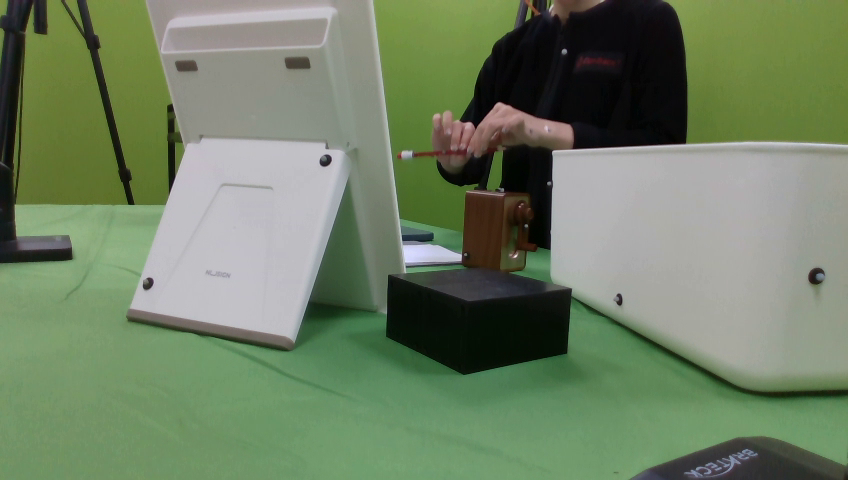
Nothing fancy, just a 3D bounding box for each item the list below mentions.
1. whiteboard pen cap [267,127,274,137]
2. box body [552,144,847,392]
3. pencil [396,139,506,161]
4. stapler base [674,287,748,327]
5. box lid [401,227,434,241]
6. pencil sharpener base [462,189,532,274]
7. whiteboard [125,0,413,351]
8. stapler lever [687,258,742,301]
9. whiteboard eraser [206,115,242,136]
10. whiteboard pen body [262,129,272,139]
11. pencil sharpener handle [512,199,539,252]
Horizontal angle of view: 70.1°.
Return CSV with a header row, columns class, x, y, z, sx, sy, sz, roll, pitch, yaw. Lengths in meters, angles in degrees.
class,x,y,z,sx,sy,sz,roll,pitch,yaw
whiteboard pen cap,-0.340,-0.239,1.337,0.018,0.018,0.033,1,-1,-14
box body,0.290,0.002,0.549,0.255,0.160,0.363,2,7,-10
pencil,0.039,-0.141,0.945,0.193,0.012,0.012,-5,3,31
stapler base,0.281,0.061,0.586,0.041,0.024,0.131,11,9,37
box lid,-0.196,-0.015,1.105,0.373,0.015,0.262,-1,7,-32
pencil sharpener base,0.100,-0.013,0.815,0.062,0.107,0.076,-3,10,-44
whiteboard,-0.151,-0.050,0.471,0.216,0.305,0.144,6,27,24
stapler lever,0.283,0.035,0.585,0.026,0.040,0.119,11,8,37
whiteboard eraser,-0.438,-0.249,1.320,0.056,0.042,0.112,-3,9,-30
whiteboard pen body,-0.361,-0.245,1.393,0.017,0.017,0.140,0,5,-20
pencil sharpener handle,0.136,-0.018,0.778,0.036,0.067,0.030,-3,9,-44
